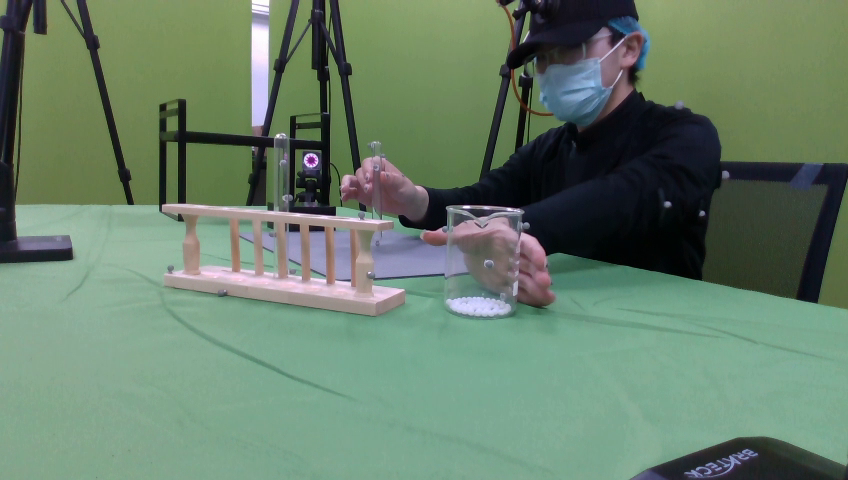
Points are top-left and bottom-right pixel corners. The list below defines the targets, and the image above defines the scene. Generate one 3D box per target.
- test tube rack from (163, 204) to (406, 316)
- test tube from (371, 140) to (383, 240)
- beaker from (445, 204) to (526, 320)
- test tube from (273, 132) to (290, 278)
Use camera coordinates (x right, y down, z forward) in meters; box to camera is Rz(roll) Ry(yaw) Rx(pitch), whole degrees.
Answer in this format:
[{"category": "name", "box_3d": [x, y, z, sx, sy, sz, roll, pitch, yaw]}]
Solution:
[{"category": "test tube rack", "box_3d": [-0.141, 0.013, 0.601, 0.241, 0.085, 0.067, 5, 8, 21]}, {"category": "test tube", "box_3d": [-0.070, -0.074, 0.904, 0.017, 0.150, 0.017, 0, 3, 0]}, {"category": "beaker", "box_3d": [0.055, 0.019, 0.563, 0.074, 0.100, 0.084, 3, 8, 8]}, {"category": "test tube", "box_3d": [-0.146, -0.034, 0.617, 0.017, 0.150, 0.017, 2, 8, 0]}]
